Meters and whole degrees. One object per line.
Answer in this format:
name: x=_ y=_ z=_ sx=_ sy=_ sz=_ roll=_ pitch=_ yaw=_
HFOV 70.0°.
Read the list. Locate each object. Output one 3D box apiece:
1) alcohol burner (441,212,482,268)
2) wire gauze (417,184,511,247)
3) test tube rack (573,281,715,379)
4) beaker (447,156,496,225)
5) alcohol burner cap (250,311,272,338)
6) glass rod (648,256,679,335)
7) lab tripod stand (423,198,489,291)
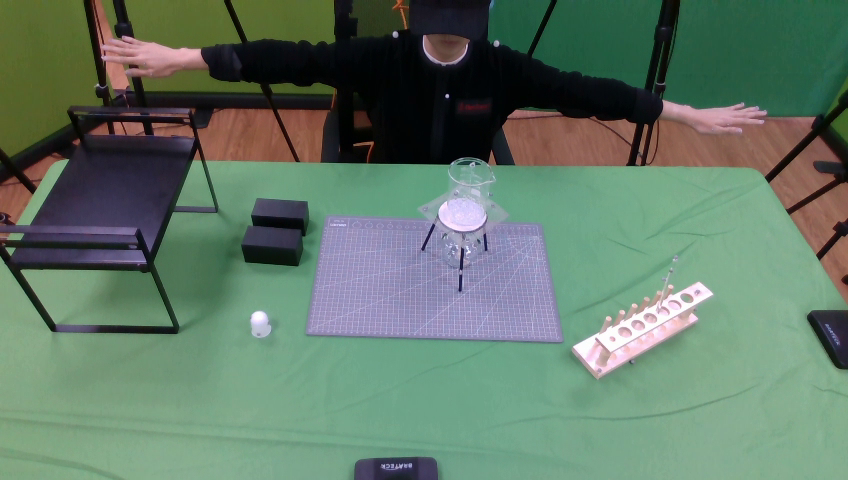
alcohol burner: x=0.071 y=-0.005 z=1.136 sx=0.078 sy=0.120 sz=0.077 roll=1 pitch=44 yaw=-1
wire gauze: x=0.071 y=-0.049 z=1.074 sx=0.121 sy=0.011 sz=0.124 roll=-31 pitch=52 yaw=-30
test tube rack: x=0.378 y=0.140 z=1.038 sx=0.242 sy=0.085 sz=0.066 roll=-22 pitch=51 yaw=-22
beaker: x=0.078 y=-0.081 z=1.037 sx=0.084 sy=0.101 sz=0.073 roll=15 pitch=48 yaw=12
alcohol burner cap: x=-0.278 y=0.141 z=1.026 sx=0.034 sy=0.048 sz=0.033 roll=1 pitch=46 yaw=-1
glass rod: x=0.390 y=0.095 z=0.990 sx=0.008 sy=0.201 sz=0.008 roll=-2 pitch=46 yaw=3
lab tripod stand: x=0.064 y=-0.002 z=1.119 sx=0.148 sy=0.132 sz=0.147 roll=1 pitch=47 yaw=0
